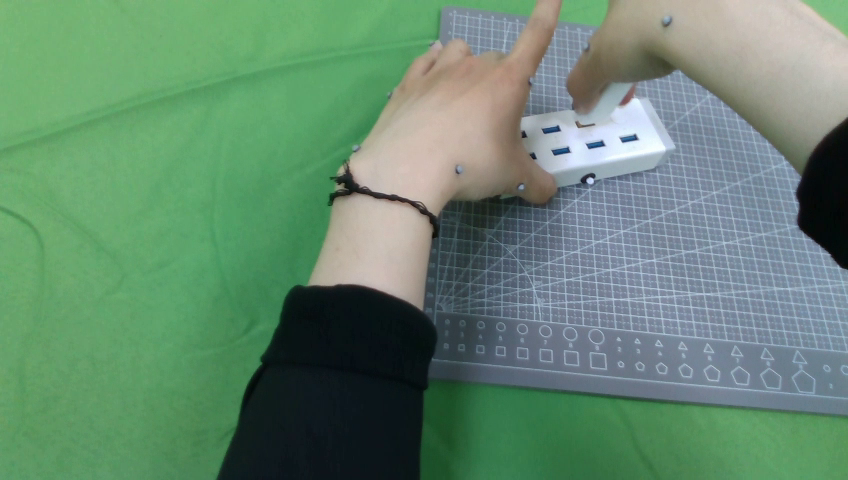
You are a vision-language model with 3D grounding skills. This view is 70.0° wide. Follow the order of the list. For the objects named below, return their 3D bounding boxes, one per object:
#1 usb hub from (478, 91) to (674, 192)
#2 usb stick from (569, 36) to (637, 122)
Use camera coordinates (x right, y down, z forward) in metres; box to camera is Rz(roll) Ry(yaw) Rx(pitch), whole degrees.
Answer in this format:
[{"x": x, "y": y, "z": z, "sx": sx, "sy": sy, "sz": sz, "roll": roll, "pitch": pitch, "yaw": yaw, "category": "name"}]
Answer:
[{"x": 0.103, "y": -0.069, "z": 0.413, "sx": 0.125, "sy": 0.025, "sz": 0.049, "roll": -11, "pitch": 65, "yaw": -14, "category": "usb hub"}, {"x": 0.111, "y": -0.099, "z": 0.388, "sx": 0.021, "sy": 0.059, "sz": 0.027, "roll": -22, "pitch": 66, "yaw": -16, "category": "usb stick"}]
